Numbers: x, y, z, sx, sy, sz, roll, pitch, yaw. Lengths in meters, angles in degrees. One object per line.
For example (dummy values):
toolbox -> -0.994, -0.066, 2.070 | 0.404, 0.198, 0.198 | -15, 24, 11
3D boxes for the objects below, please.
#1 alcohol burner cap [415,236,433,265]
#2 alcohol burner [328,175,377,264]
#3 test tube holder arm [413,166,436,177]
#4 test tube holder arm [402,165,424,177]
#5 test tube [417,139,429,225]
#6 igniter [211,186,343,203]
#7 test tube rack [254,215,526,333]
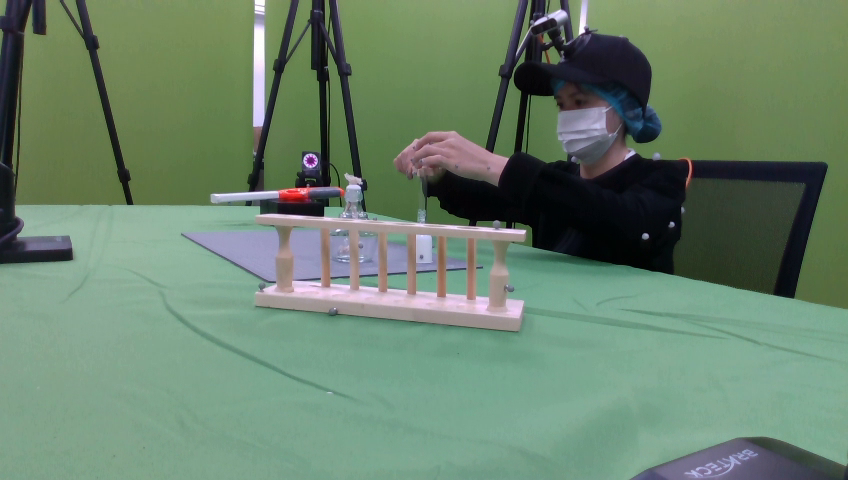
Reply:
alcohol burner cap -> -0.004, 0.011, 0.835 | 0.034, 0.048, 0.034 | 2, 7, 0
alcohol burner -> -0.098, -0.028, 0.819 | 0.078, 0.119, 0.078 | 1, 8, 0
test tube holder arm -> -0.003, -0.119, 1.043 | 0.010, 0.015, 0.087 | -4, 11, -27
test tube holder arm -> -0.022, -0.126, 1.083 | 0.013, 0.015, 0.178 | 0, 9, -13
test tube -> -0.003, -0.095, 1.022 | 0.017, 0.150, 0.017 | 2, 6, 0
igniter -> -0.300, -0.095, 1.266 | 0.278, 0.025, 0.057 | -6, 12, -34
test tube rack -> -0.030, 0.025, 0.558 | 0.242, 0.085, 0.067 | 4, 7, 12
